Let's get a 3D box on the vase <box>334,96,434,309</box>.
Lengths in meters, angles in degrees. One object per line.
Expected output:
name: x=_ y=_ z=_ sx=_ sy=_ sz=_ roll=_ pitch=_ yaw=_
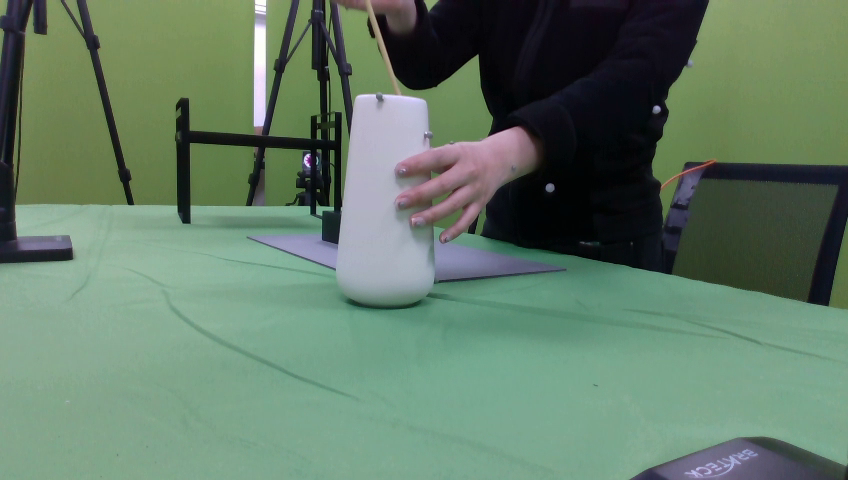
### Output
vase: x=-0.039 y=-0.036 z=0.589 sx=0.098 sy=0.200 sz=0.098 roll=1 pitch=8 yaw=0

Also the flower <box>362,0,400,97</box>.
flower: x=-0.090 y=-0.333 z=0.665 sx=0.038 sy=0.362 sz=0.044 roll=-11 pitch=16 yaw=34
